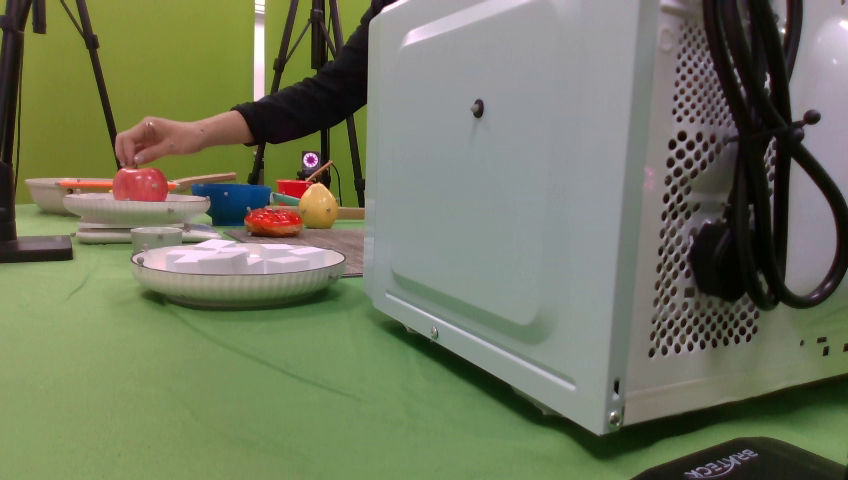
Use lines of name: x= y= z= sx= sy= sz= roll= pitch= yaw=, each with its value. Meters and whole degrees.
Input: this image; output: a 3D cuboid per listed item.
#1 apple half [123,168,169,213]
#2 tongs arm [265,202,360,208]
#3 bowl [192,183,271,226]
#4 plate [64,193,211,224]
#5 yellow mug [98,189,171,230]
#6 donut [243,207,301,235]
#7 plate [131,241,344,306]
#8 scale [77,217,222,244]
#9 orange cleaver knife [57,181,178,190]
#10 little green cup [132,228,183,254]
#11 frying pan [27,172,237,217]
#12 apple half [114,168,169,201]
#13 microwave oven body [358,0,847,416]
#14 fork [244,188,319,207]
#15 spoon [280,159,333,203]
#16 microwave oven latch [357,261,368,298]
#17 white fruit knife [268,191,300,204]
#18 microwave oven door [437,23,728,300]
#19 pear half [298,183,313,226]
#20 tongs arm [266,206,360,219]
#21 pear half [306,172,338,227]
apple half: x=-0.441 y=-0.081 z=0.976 sx=0.081 sy=0.081 sz=0.033 roll=3 pitch=8 yaw=8
tongs arm: x=-0.212 y=-0.070 z=1.440 sx=0.389 sy=0.027 sz=0.028 roll=2 pitch=1 yaw=-17
bowl: x=-0.382 y=-0.070 z=1.202 sx=0.151 sy=0.077 sz=0.151 roll=3 pitch=7 yaw=0
plate: x=-0.446 y=-0.051 z=0.951 sx=0.209 sy=0.038 sz=0.209 roll=2 pitch=7 yaw=0
yellow mug: x=-0.519 y=-0.055 z=1.080 sx=0.099 sy=0.064 sz=0.131 roll=7 pitch=9 yaw=26
donut: x=-0.262 y=-0.032 z=1.043 sx=0.099 sy=0.048 sz=0.099 roll=4 pitch=10 yaw=0
plate: x=-0.187 y=0.033 z=0.625 sx=0.208 sy=0.039 sz=0.207 roll=2 pitch=7 yaw=0
scale: x=-0.434 y=-0.018 z=0.963 sx=0.202 sy=0.031 sz=0.148 roll=-1 pitch=8 yaw=-27
orange cleaver knife: x=-0.600 y=-0.109 z=1.189 sx=0.212 sy=0.012 sz=0.077 roll=-1 pitch=11 yaw=-26
little green cup: x=-0.342 y=0.006 z=0.779 sx=0.061 sy=0.038 sz=0.061 roll=2 pitch=8 yaw=0
frying pan: x=-0.624 y=-0.118 z=1.387 sx=0.305 sy=0.102 sz=0.490 roll=8 pitch=17 yaw=32
apple half: x=-0.445 y=-0.075 z=0.938 sx=0.081 sy=0.074 sz=0.053 roll=5 pitch=10 yaw=9
microwave oven body: x=0.211 y=-0.047 z=0.474 sx=0.444 sy=0.260 sz=0.324 roll=-1 pitch=7 yaw=-28
fork: x=-0.356 y=-0.105 z=1.526 sx=0.208 sy=0.018 sz=0.028 roll=16 pitch=-5 yaw=-41
spoon: x=-0.317 y=-0.159 z=1.640 sx=0.194 sy=0.022 sz=0.041 roll=-49 pitch=32 yaw=-20
microwave oven latch: x=-0.019 y=0.033 z=0.530 sx=0.079 sy=0.029 sz=0.030 roll=-1 pitch=7 yaw=-26
white fruit knife: x=-0.364 y=-0.105 z=1.464 sx=0.208 sy=0.027 sz=0.016 roll=15 pitch=0 yaw=-34
microwave oven door: x=0.180 y=-0.072 z=0.621 sx=0.358 sy=0.243 sz=0.039 roll=-2 pitch=9 yaw=-29
pear half: x=-0.235 y=-0.071 z=1.207 sx=0.031 sy=0.088 sz=0.070 roll=3 pitch=10 yaw=0
tongs arm: x=-0.174 y=-0.060 z=1.363 sx=0.387 sy=0.026 sz=0.050 roll=0 pitch=5 yaw=-32
pear half: x=-0.200 y=-0.079 z=1.203 sx=0.056 sy=0.110 sz=0.076 roll=3 pitch=12 yaw=1
